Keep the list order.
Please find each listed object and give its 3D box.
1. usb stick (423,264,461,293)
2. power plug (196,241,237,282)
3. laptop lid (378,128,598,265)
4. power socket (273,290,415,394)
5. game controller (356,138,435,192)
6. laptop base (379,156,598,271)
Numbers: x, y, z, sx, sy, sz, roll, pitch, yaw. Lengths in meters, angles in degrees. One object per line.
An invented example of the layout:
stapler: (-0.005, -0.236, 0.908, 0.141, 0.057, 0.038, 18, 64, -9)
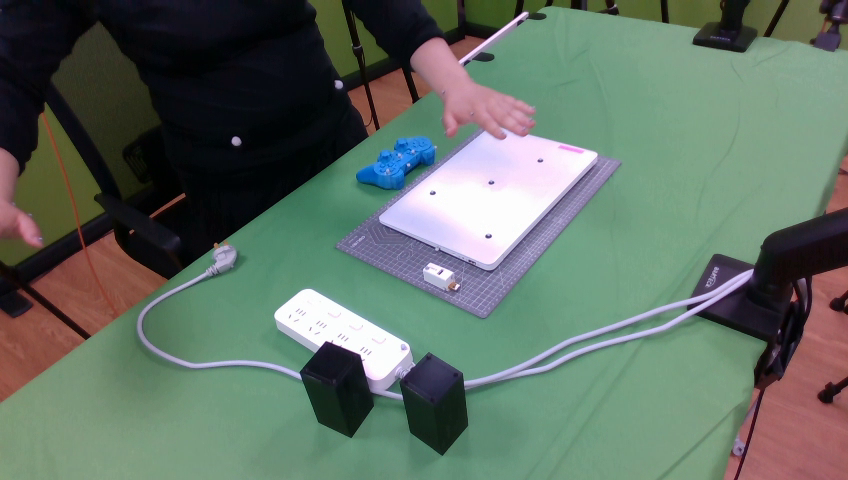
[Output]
usb stick: (0.028, 0.058, 0.889, 0.059, 0.027, 0.021, 24, 45, 29)
power plug: (-0.336, 0.030, 0.968, 0.073, 0.035, 0.052, -17, 58, -30)
laptop lid: (0.117, -0.095, 1.048, 0.239, 0.013, 0.358, 23, 49, 34)
power socket: (-0.114, 0.133, 0.820, 0.225, 0.033, 0.072, 24, 48, 32)
game controller: (-0.049, -0.150, 1.136, 0.096, 0.052, 0.155, 27, 51, 28)
laptop base: (0.120, -0.085, 1.054, 0.233, 0.023, 0.355, 21, 48, 34)
